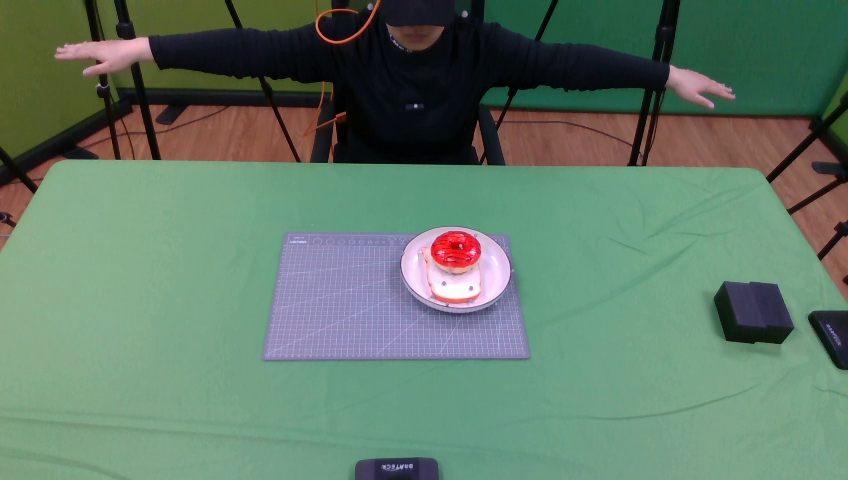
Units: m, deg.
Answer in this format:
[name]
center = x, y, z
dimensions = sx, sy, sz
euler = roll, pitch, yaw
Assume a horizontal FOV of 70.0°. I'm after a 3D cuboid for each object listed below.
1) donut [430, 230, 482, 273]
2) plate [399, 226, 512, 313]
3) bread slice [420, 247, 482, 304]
[donut]
center = 0.060, 0.020, 1.132
dimensions = 0.099, 0.048, 0.098
euler = 0, 43, 0
[plate]
center = 0.057, 0.057, 1.134
dimensions = 0.209, 0.038, 0.208
euler = 2, 46, -2
[bread slice]
center = 0.056, 0.062, 1.131
dimensions = 0.107, 0.018, 0.133
euler = -6, 47, -8
